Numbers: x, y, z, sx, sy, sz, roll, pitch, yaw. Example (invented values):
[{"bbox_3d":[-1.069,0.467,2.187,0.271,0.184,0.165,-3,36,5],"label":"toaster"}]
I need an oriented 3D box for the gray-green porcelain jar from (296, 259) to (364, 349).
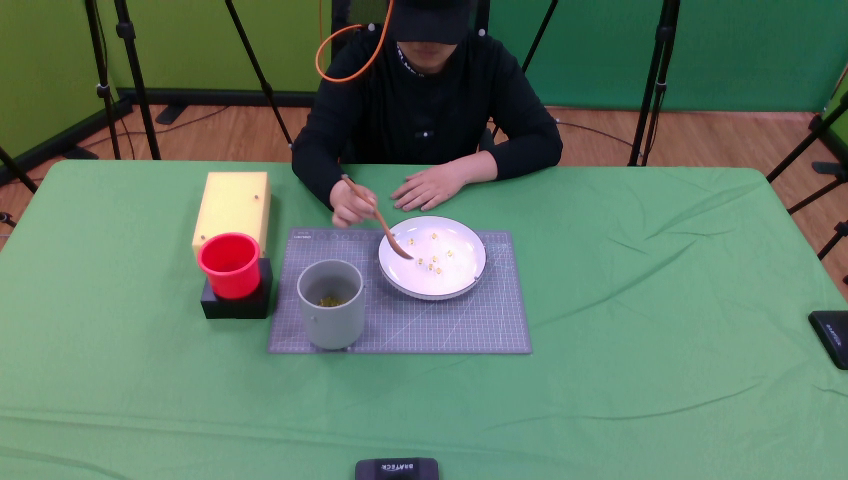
[{"bbox_3d":[-0.152,0.111,1.003,0.106,0.127,0.105,2,46,-2],"label":"gray-green porcelain jar"}]

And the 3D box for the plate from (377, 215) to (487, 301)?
[{"bbox_3d":[0.015,0.037,1.147,0.208,0.039,0.206,2,46,-2],"label":"plate"}]

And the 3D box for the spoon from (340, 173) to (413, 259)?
[{"bbox_3d":[-0.080,-0.039,1.038,0.021,0.194,0.041,-37,16,-9],"label":"spoon"}]

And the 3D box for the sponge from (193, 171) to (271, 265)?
[{"bbox_3d":[-0.371,-0.047,1.189,0.118,0.061,0.205,-2,47,-6],"label":"sponge"}]
